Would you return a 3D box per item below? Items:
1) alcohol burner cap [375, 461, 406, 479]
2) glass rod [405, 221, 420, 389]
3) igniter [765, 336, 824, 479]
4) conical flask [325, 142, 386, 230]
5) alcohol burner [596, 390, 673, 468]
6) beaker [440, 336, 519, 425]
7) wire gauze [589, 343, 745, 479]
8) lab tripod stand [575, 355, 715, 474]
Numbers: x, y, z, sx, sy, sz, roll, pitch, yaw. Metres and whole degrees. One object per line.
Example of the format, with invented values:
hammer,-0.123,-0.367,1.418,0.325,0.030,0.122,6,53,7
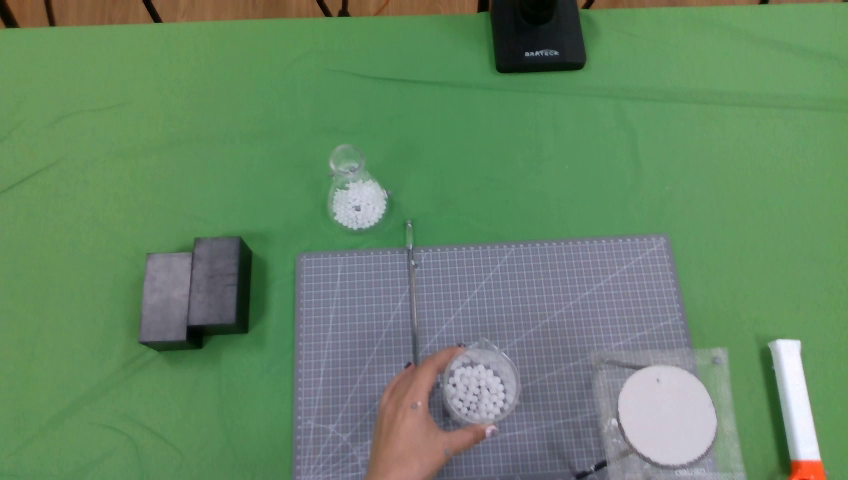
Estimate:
alcohol burner cap,-0.035,0.244,0.620,0.034,0.048,0.033,1,71,-1
glass rod,-0.014,0.071,0.699,0.008,0.008,0.198,-3,70,-2
igniter,0.400,0.239,0.639,0.057,0.025,0.274,5,70,-11
conical flask,-0.083,-0.066,0.690,0.075,0.122,0.075,0,70,0
alcohol burner,0.215,0.187,0.606,0.078,0.120,0.077,-1,70,2
beaker,0.053,0.149,0.625,0.074,0.101,0.083,5,69,1
wire gauze,0.214,0.153,0.536,0.125,0.011,0.120,0,72,0
lab tripod stand,0.213,0.178,0.599,0.148,0.132,0.147,0,72,0
